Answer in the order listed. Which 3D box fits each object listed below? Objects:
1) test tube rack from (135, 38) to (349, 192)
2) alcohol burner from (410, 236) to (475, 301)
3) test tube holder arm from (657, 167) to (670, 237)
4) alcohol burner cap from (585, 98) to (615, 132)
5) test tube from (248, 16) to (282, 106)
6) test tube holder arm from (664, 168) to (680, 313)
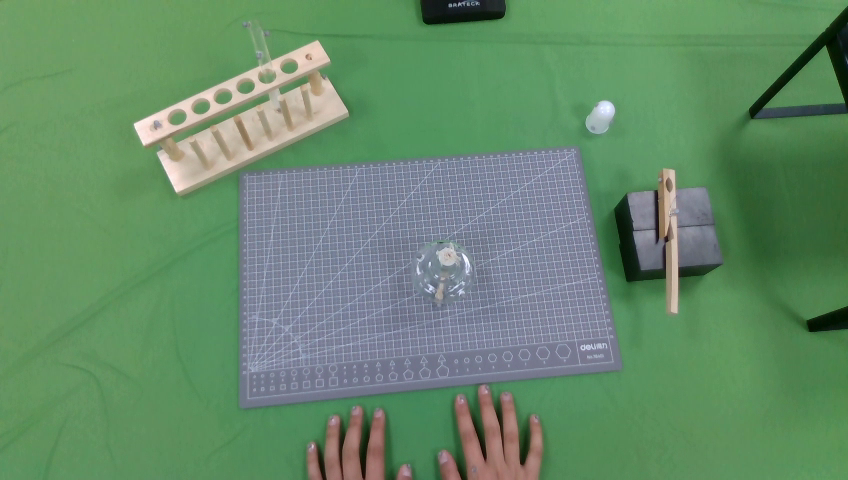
[{"bbox_3d":[-0.222,-0.157,0.766,0.242,0.085,0.066,-28,74,-10],"label":"test tube rack"},{"bbox_3d":[0.023,0.028,0.697,0.078,0.119,0.077,1,73,-3],"label":"alcohol burner"},{"bbox_3d":[0.289,-0.045,0.731,0.010,0.015,0.087,4,73,1],"label":"test tube holder arm"},{"bbox_3d":[0.237,-0.169,0.808,0.034,0.048,0.033,0,71,0],"label":"alcohol burner cap"},{"bbox_3d":[-0.189,-0.210,0.732,0.017,0.151,0.017,1,66,-2],"label":"test tube"},{"bbox_3d":[0.293,-0.002,0.718,0.013,0.015,0.177,2,73,0],"label":"test tube holder arm"}]
